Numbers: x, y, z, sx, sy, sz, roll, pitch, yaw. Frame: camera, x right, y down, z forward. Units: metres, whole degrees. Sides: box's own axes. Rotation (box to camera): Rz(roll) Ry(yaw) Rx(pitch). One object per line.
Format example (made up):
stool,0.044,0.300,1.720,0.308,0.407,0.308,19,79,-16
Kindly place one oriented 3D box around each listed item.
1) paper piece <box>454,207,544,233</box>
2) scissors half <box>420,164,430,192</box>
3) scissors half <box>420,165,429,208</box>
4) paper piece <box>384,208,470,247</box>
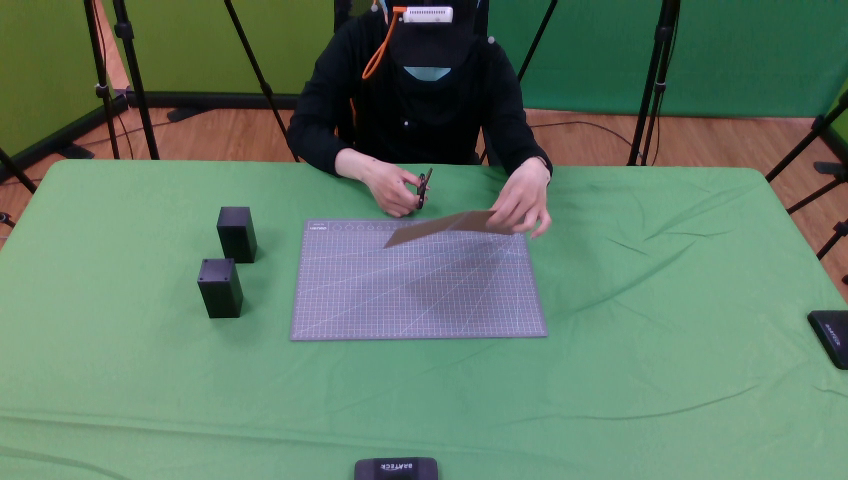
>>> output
paper piece,0.127,-0.036,1.099,0.138,0.136,0.008,8,80,-13
scissors half,0.003,-0.124,1.178,0.013,0.175,0.040,0,85,-4
scissors half,0.002,-0.105,1.173,0.013,0.176,0.040,5,68,-2
paper piece,0.001,-0.022,1.063,0.136,0.135,0.004,-17,81,-17
